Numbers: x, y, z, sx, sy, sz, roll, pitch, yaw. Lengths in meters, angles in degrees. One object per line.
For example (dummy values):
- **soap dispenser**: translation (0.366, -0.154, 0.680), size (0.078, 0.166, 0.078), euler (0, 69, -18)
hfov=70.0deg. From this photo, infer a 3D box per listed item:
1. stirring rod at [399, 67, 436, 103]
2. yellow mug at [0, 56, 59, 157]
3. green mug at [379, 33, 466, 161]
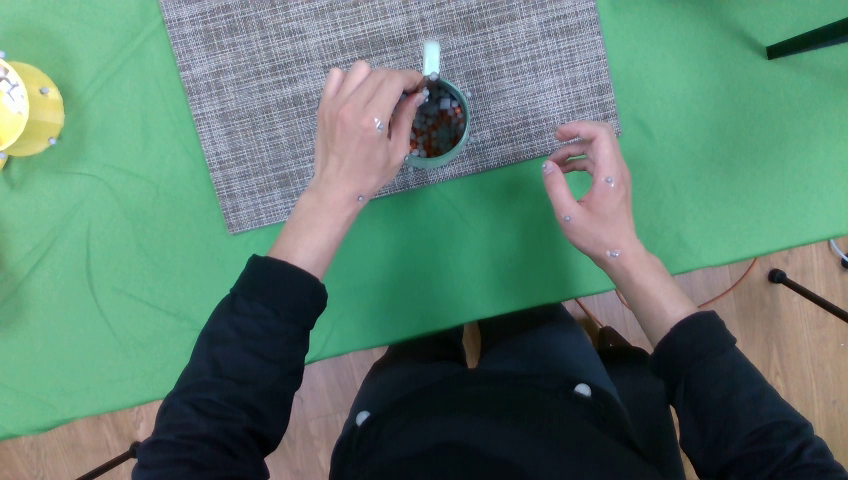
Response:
- **stirring rod**: translation (-0.008, -0.143, 0.567), size (0.014, 0.175, 0.006), euler (-16, 97, -6)
- **yellow mug**: translation (-0.445, -0.126, 0.618), size (0.100, 0.064, 0.131), euler (18, 98, -5)
- **green mug**: translation (0.000, -0.143, 0.611), size (0.092, 0.104, 0.125), euler (2, 98, -2)
